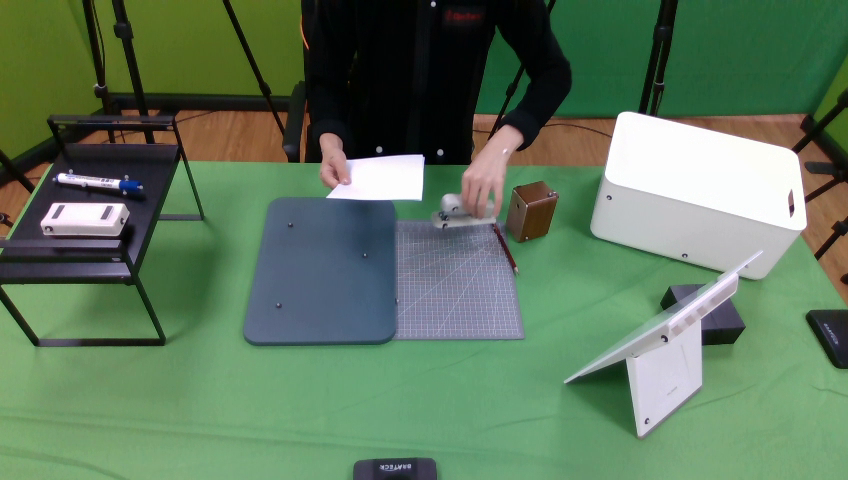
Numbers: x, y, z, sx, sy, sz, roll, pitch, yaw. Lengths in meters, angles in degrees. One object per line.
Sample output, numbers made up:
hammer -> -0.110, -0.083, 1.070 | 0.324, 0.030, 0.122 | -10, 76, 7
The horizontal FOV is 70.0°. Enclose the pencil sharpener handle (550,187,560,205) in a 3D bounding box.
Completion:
pencil sharpener handle -> 0.261, -0.084, 1.221 | 0.031, 0.068, 0.036 | -16, 66, -19

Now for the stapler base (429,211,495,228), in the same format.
stapler base -> 0.075, -0.048, 1.168 | 0.131, 0.024, 0.041 | -5, 51, -22

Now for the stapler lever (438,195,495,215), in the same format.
stapler lever -> 0.083, -0.066, 1.150 | 0.118, 0.040, 0.026 | -4, 51, -23

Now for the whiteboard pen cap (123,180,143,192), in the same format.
whiteboard pen cap -> -0.479, -0.089, 0.993 | 0.033, 0.018, 0.018 | 7, 46, 14

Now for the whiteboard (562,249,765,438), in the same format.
whiteboard -> 0.386, 0.175, 0.905 | 0.217, 0.306, 0.143 | -26, 72, -26

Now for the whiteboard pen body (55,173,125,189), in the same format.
whiteboard pen body -> -0.539, -0.095, 0.998 | 0.141, 0.017, 0.017 | 6, 46, 6

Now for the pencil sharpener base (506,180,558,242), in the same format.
pencil sharpener base -> 0.216, -0.058, 1.211 | 0.077, 0.107, 0.061 | -16, 49, -19

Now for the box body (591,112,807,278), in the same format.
box body -> 0.540, -0.092, 1.229 | 0.363, 0.161, 0.253 | 16, 47, 11

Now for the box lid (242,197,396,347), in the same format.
box lid -> -0.186, 0.046, 1.147 | 0.263, 0.015, 0.369 | 0, 46, -3

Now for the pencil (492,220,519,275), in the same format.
pencil -> 0.156, -0.002, 1.218 | 0.012, 0.012, 0.192 | -9, 48, -13

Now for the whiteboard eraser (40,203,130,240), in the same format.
whiteboard eraser -> -0.513, -0.028, 0.922 | 0.113, 0.042, 0.055 | 1, 48, -3
